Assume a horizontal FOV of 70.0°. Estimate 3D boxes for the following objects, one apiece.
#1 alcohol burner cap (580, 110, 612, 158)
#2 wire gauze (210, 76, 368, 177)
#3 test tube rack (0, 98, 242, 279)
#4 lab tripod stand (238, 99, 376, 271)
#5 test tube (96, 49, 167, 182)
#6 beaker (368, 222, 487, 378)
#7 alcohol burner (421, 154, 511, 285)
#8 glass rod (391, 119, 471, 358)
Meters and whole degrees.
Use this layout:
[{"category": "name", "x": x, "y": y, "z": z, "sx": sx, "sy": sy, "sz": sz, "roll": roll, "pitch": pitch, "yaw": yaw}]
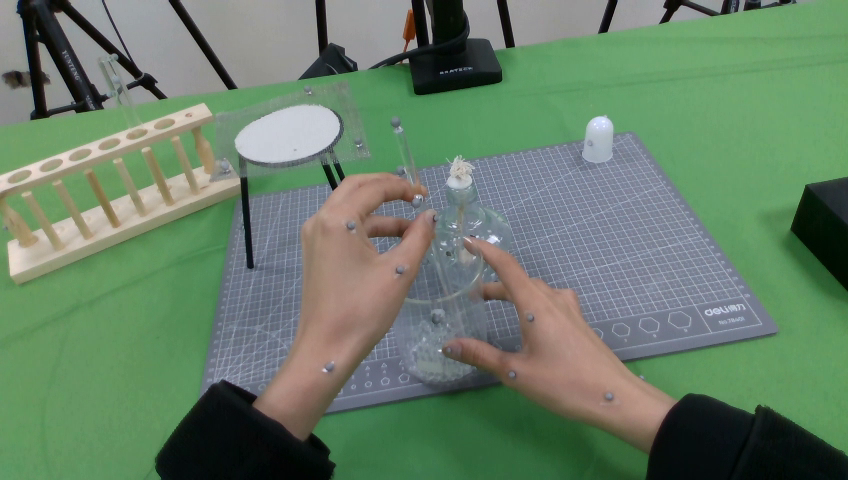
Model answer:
[{"category": "alcohol burner cap", "x": 0.183, "y": -0.115, "z": 0.642, "sx": 0.034, "sy": 0.048, "sz": 0.033, "roll": -5, "pitch": 42, "yaw": 5}, {"category": "wire gauze", "x": -0.115, "y": -0.095, "z": 0.502, "sx": 0.125, "sy": 0.011, "sz": 0.120, "roll": -14, "pitch": 42, "yaw": -5}, {"category": "test tube rack", "x": -0.325, "y": -0.059, "z": 0.638, "sx": 0.242, "sy": 0.086, "sz": 0.066, "roll": -26, "pitch": 45, "yaw": -18}, {"category": "lab tripod stand", "x": -0.107, "y": -0.046, "z": 0.547, "sx": 0.148, "sy": 0.133, "sz": 0.147, "roll": -5, "pitch": 44, "yaw": 5}, {"category": "test tube", "x": -0.302, "y": -0.125, "z": 0.632, "sx": 0.017, "sy": 0.151, "sz": 0.017, "roll": -4, "pitch": 39, "yaw": 4}, {"category": "beaker", "x": 0.007, "y": 0.048, "z": 0.450, "sx": 0.084, "sy": 0.101, "sz": 0.073, "roll": -4, "pitch": 42, "yaw": 7}, {"category": "alcohol burner", "x": 0.034, "y": -0.020, "z": 0.510, "sx": 0.078, "sy": 0.120, "sz": 0.077, "roll": -5, "pitch": 41, "yaw": 5}, {"category": "glass rod", "x": 0.008, "y": 0.010, "z": 0.412, "sx": 0.008, "sy": 0.201, "sz": 0.008, "roll": -12, "pitch": 33, "yaw": 8}]
